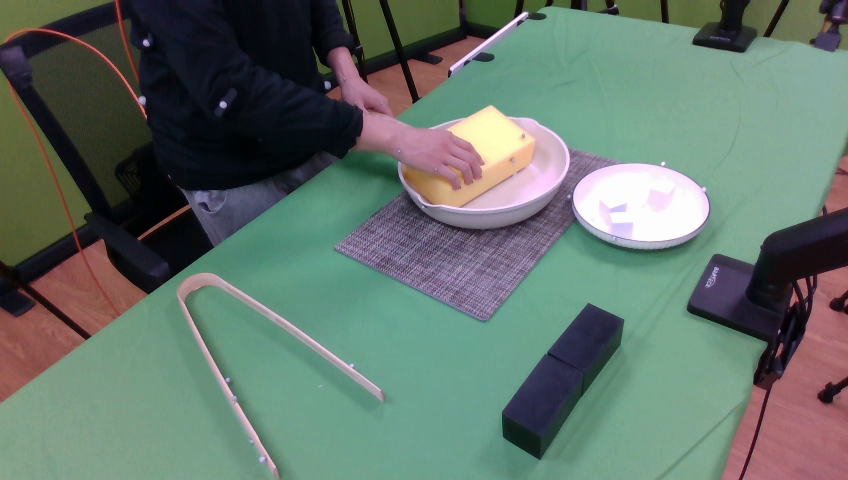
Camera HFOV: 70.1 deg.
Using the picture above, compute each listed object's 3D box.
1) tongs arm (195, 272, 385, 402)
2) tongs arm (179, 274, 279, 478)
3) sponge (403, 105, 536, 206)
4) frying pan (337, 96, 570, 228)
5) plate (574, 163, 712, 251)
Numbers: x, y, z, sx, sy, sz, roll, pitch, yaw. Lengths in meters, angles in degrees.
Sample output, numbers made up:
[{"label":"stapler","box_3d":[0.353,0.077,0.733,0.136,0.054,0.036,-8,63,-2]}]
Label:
[{"label":"tongs arm","box_3d":[-0.199,0.125,0.846,0.384,0.028,0.028,25,53,32]},{"label":"tongs arm","box_3d":[-0.260,0.161,0.807,0.051,0.026,0.381,-29,44,-25]},{"label":"sponge","box_3d":[0.079,-0.145,1.053,0.207,0.061,0.117,-32,61,-26]},{"label":"frying pan","box_3d":[0.023,-0.167,1.090,0.484,0.103,0.308,32,52,26]},{"label":"plate","box_3d":[0.344,-0.050,0.966,0.207,0.039,0.206,-4,40,4]}]
